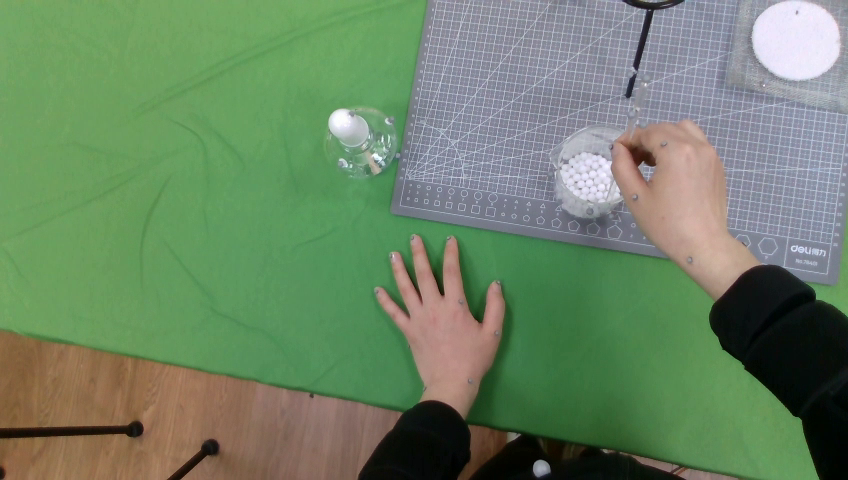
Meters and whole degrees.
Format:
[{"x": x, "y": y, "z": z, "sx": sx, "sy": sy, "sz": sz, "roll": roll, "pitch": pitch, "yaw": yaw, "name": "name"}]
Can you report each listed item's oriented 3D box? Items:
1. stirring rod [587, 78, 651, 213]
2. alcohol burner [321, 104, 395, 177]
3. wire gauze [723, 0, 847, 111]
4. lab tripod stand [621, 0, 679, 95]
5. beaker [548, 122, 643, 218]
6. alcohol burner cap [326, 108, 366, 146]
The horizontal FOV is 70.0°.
[{"x": 0.160, "y": -0.071, "z": 0.509, "sx": 0.014, "sy": 0.177, "sz": 0.006, "roll": 16, "pitch": 63, "yaw": 12, "name": "stirring rod"}, {"x": -0.071, "y": -0.105, "z": 0.612, "sx": 0.078, "sy": 0.119, "sz": 0.077, "roll": -1, "pitch": 82, "yaw": 7, "name": "alcohol burner"}, {"x": 0.374, "y": -0.201, "z": 0.611, "sx": 0.125, "sy": 0.011, "sz": 0.121, "roll": 14, "pitch": 86, "yaw": 6, "name": "wire gauze"}, {"x": 0.203, "y": -0.230, "z": 0.573, "sx": 0.148, "sy": 0.132, "sz": 0.148, "roll": 0, "pitch": 86, "yaw": 6, "name": "lab tripod stand"}, {"x": 0.158, "y": -0.063, "z": 0.581, "sx": 0.084, "sy": 0.100, "sz": 0.074, "roll": 16, "pitch": 86, "yaw": 10, "name": "beaker"}, {"x": -0.077, "y": -0.110, "z": 0.577, "sx": 0.034, "sy": 0.048, "sz": 0.034, "roll": 0, "pitch": 88, "yaw": 8, "name": "alcohol burner cap"}]
